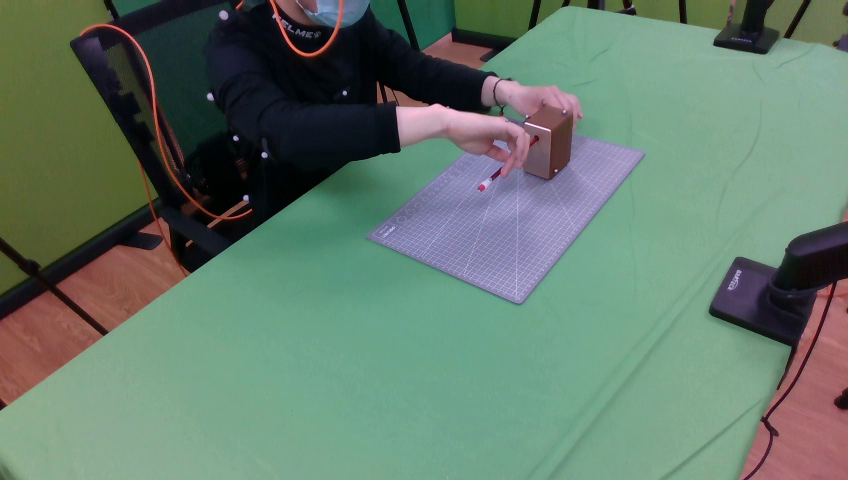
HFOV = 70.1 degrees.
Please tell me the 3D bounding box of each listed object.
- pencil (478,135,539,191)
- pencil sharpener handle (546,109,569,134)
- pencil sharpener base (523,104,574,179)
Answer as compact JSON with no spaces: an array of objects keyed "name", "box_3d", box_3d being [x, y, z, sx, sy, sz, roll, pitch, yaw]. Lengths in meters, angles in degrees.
[{"name":"pencil","box_3d":[0.148,-0.135,0.995,0.012,0.012,0.194,25,51,32]},{"name":"pencil sharpener handle","box_3d":[0.245,-0.217,1.093,0.036,0.067,0.031,47,57,4]},{"name":"pencil sharpener base","box_3d":[0.220,-0.175,1.071,0.061,0.107,0.077,25,50,33]}]
